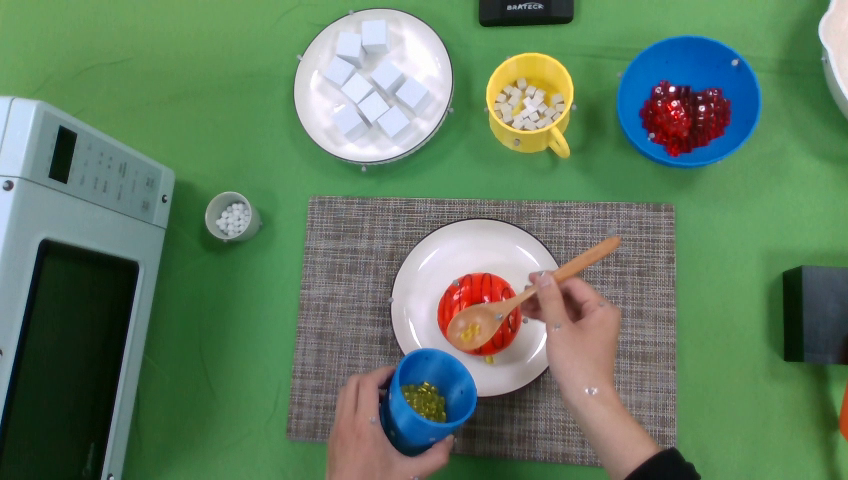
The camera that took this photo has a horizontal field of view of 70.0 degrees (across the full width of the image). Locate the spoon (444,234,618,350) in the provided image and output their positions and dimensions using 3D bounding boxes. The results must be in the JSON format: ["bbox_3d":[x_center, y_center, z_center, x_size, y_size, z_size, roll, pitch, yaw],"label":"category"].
[{"bbox_3d":[0.101,0.050,0.582,0.194,0.022,0.041,-34,76,22],"label":"spoon"}]

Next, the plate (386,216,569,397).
[{"bbox_3d":[0.061,0.076,0.707,0.209,0.038,0.208,-1,81,9],"label":"plate"}]

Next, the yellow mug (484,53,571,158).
[{"bbox_3d":[0.133,-0.152,0.725,0.100,0.064,0.130,-35,78,2],"label":"yellow mug"}]

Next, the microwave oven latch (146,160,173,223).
[{"bbox_3d":[-0.347,-0.063,0.780,0.030,0.029,0.079,9,82,10],"label":"microwave oven latch"}]

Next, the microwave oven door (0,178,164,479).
[{"bbox_3d":[-0.391,0.134,0.648,0.039,0.245,0.354,5,81,10],"label":"microwave oven door"}]

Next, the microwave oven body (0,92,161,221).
[{"bbox_3d":[-0.528,0.081,0.684,0.325,0.261,0.440,5,82,9],"label":"microwave oven body"}]

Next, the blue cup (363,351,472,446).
[{"bbox_3d":[-0.014,0.169,0.616,0.093,0.100,0.092,17,55,-26],"label":"blue cup"}]

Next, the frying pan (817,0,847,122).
[{"bbox_3d":[0.563,-0.110,0.630,0.306,0.103,0.485,7,73,11],"label":"frying pan"}]

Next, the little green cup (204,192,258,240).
[{"bbox_3d":[-0.245,-0.028,0.776,0.061,0.039,0.061,-1,82,8],"label":"little green cup"}]

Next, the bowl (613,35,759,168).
[{"bbox_3d":[0.289,-0.147,0.693,0.151,0.077,0.151,-2,80,9],"label":"bowl"}]

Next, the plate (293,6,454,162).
[{"bbox_3d":[-0.063,-0.196,0.778,0.207,0.039,0.207,-2,80,9],"label":"plate"}]

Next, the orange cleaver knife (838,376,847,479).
[{"bbox_3d":[0.438,0.187,0.610,0.012,0.077,0.212,2,109,10],"label":"orange cleaver knife"}]

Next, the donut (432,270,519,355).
[{"bbox_3d":[0.059,0.083,0.694,0.099,0.048,0.099,-1,84,10],"label":"donut"}]
